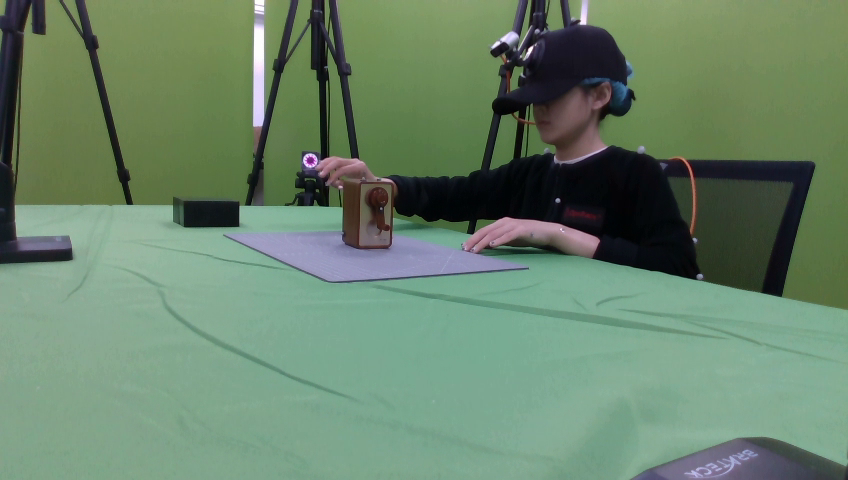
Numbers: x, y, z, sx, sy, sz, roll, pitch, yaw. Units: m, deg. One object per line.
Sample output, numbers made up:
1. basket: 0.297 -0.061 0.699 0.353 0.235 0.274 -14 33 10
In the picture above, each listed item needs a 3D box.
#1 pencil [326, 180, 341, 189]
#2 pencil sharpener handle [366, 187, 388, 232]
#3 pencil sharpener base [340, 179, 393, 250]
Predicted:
1. pencil: -0.163 -0.100 1.096 0.012 0.012 0.193 1 8 -15
2. pencil sharpener handle: -0.065 -0.046 0.915 0.036 0.067 0.030 -8 12 -27
3. pencil sharpener base: -0.091 -0.041 0.960 0.061 0.107 0.076 -1 9 -28
